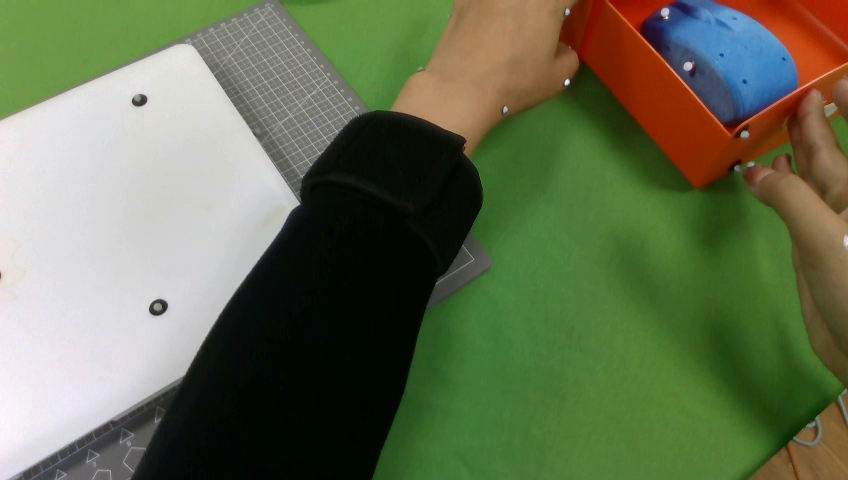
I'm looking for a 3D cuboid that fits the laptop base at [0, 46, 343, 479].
[{"bbox_3d":[-0.256,0.026,0.374,0.354,0.023,0.234,-31,70,-15],"label":"laptop base"}]

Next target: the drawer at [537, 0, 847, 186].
[{"bbox_3d":[0.219,-0.167,0.445,0.194,0.074,0.210,-26,65,-12],"label":"drawer"}]

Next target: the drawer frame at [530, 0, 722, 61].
[{"bbox_3d":[0.159,-0.270,0.495,0.202,0.083,0.211,-25,64,-12],"label":"drawer frame"}]

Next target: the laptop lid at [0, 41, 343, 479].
[{"bbox_3d":[-0.255,0.022,0.363,0.357,0.013,0.239,-29,68,-14],"label":"laptop lid"}]

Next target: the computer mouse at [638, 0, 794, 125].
[{"bbox_3d":[0.215,-0.139,0.446,0.063,0.041,0.116,-24,64,-11],"label":"computer mouse"}]
